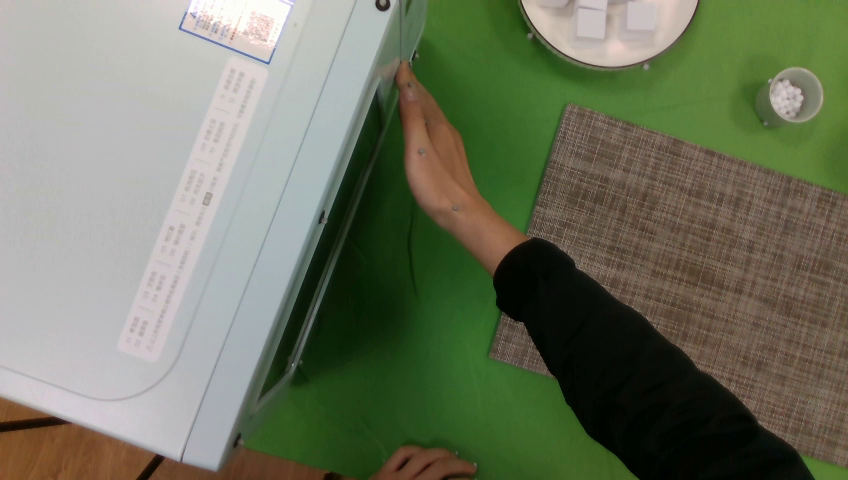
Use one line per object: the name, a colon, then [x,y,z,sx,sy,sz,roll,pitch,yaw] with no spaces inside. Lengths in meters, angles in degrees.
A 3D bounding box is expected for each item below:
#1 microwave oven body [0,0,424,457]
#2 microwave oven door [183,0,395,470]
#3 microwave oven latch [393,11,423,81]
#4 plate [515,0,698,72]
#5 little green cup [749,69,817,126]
microwave oven body: [-0.223,-0.099,0.535,0.326,0.260,0.441,21,89,-3]
microwave oven door: [-0.102,-0.007,0.535,0.039,0.243,0.355,20,88,-2]
microwave oven latch: [-0.027,-0.210,0.642,0.030,0.029,0.079,25,89,-3]
plate: [0.199,-0.287,0.674,0.208,0.039,0.207,0,89,-3]
little green cup: [0.402,-0.158,0.683,0.061,0.038,0.061,0,89,-3]
